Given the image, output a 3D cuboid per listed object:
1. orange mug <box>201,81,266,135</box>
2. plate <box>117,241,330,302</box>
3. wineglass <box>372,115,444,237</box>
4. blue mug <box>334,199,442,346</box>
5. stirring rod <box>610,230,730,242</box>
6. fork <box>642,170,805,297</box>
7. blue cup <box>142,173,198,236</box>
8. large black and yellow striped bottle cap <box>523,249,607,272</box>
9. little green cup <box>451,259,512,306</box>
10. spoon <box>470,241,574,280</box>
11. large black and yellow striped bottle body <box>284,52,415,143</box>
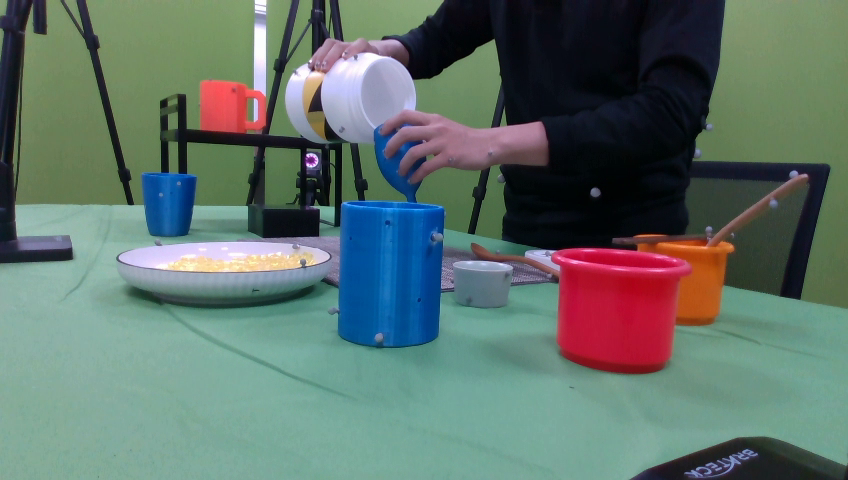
[{"bbox_3d":[-0.377,-0.260,1.198,0.126,0.101,0.083,-3,8,-6],"label":"orange mug"},{"bbox_3d":[-0.203,0.031,0.630,0.209,0.038,0.209,3,7,0],"label":"plate"},{"bbox_3d":[-0.024,-0.082,0.846,0.074,0.172,0.074,-14,-9,-2],"label":"wineglass"},{"bbox_3d":[-0.034,0.020,0.498,0.083,0.106,0.116,0,7,-20],"label":"blue mug"},{"bbox_3d":[0.241,-0.004,0.582,0.177,0.006,0.014,-3,9,-34],"label":"stirring rod"},{"bbox_3d":[0.261,0.004,0.545,0.028,0.018,0.207,5,-37,-15],"label":"fork"},{"bbox_3d":[-0.425,-0.060,1.014,0.093,0.100,0.092,4,9,0],"label":"blue cup"},{"bbox_3d":[0.198,0.028,0.851,0.115,0.019,0.115,5,5,0],"label":"large black and yellow striped bottle cap"},{"bbox_3d":[0.057,0.043,0.611,0.061,0.038,0.061,3,8,0],"label":"little green cup"},{"bbox_3d":[0.124,0.025,0.800,0.042,0.021,0.192,22,-5,-34],"label":"spoon"},{"bbox_3d":[-0.114,-0.217,0.931,0.131,0.130,0.183,-5,9,-43],"label":"large black and yellow striped bottle body"}]
